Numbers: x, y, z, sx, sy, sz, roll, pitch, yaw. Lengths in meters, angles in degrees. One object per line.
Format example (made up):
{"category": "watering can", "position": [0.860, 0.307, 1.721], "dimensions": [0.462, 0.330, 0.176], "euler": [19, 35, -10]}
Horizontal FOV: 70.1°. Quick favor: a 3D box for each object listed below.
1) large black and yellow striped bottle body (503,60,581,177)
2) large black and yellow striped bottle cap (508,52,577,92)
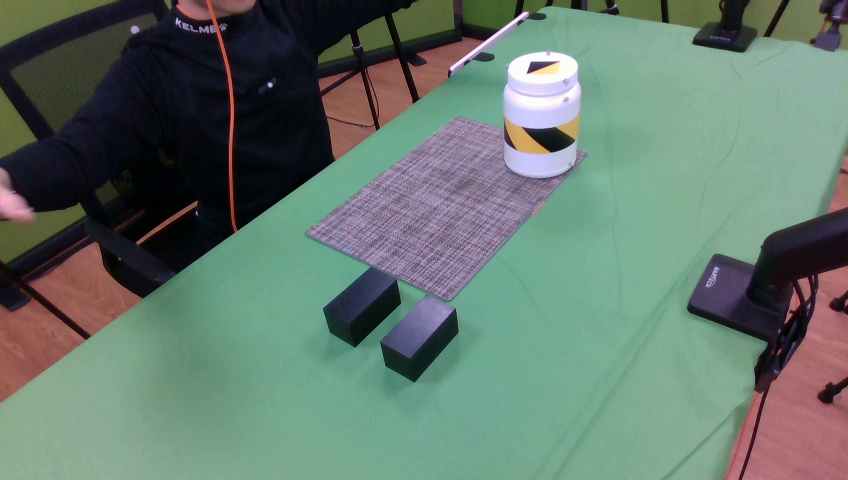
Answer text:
{"category": "large black and yellow striped bottle body", "position": [0.206, -0.218, 1.061], "dimensions": [0.131, 0.185, 0.130], "euler": [-4, 41, 4]}
{"category": "large black and yellow striped bottle cap", "position": [0.197, -0.281, 1.008], "dimensions": [0.115, 0.019, 0.114], "euler": [-4, 42, 4]}
